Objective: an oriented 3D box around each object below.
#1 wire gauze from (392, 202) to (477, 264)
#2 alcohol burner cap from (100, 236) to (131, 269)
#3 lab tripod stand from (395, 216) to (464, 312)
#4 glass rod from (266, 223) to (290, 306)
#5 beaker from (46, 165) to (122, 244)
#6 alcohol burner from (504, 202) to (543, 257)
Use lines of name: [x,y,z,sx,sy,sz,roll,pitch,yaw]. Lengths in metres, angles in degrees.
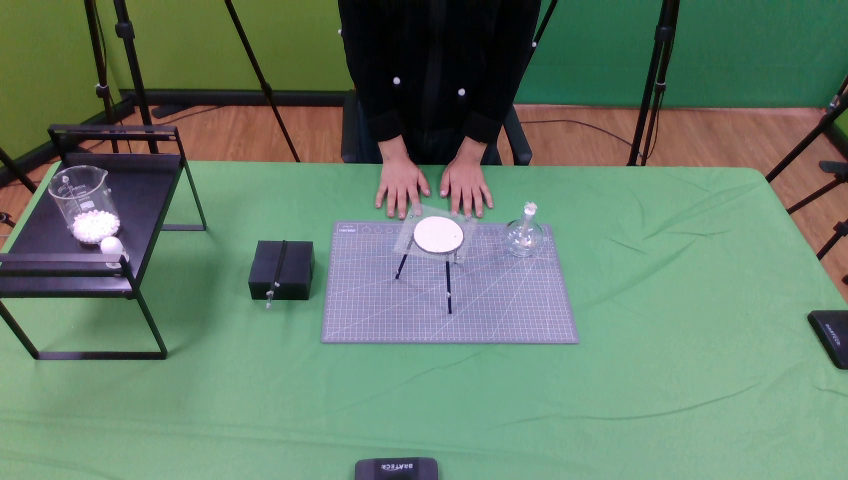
wire gauze: [0.021,-0.011,1.037,0.121,0.011,0.124,13,47,8]
alcohol burner cap: [-0.452,0.016,0.883,0.034,0.048,0.033,1,47,-1]
lab tripod stand: [0.023,0.036,1.084,0.148,0.132,0.147,4,46,-4]
glass rod: [-0.260,0.039,1.083,0.008,0.008,0.198,3,46,-1]
beaker: [-0.499,-0.051,0.905,0.073,0.101,0.084,35,53,26]
alcohol burner: [0.195,-0.025,1.170,0.078,0.120,0.077,2,44,-2]
